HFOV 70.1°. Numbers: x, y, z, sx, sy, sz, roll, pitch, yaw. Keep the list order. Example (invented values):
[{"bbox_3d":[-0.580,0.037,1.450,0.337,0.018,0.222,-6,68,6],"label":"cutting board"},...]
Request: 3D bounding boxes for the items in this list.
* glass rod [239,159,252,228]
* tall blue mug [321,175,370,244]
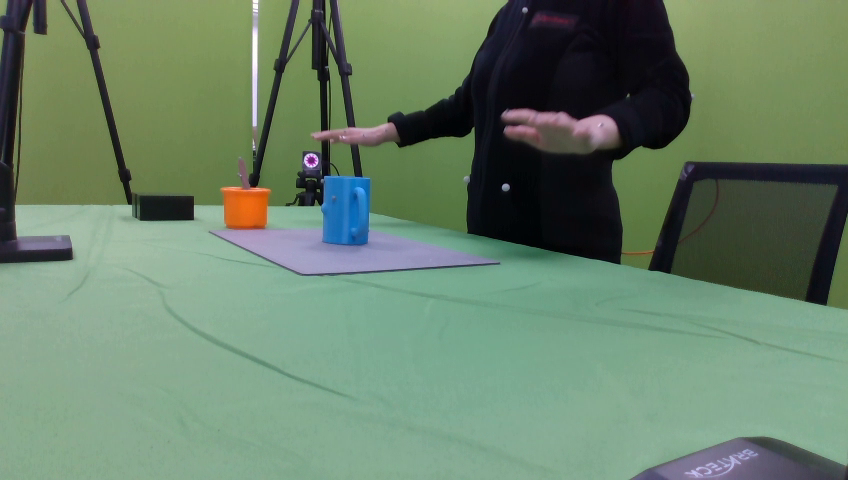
[{"bbox_3d":[-0.346,-0.092,1.170,0.008,0.008,0.199,-1,46,-23],"label":"glass rod"},{"bbox_3d":[-0.116,-0.049,0.991,0.106,0.108,0.078,7,8,33],"label":"tall blue mug"}]
